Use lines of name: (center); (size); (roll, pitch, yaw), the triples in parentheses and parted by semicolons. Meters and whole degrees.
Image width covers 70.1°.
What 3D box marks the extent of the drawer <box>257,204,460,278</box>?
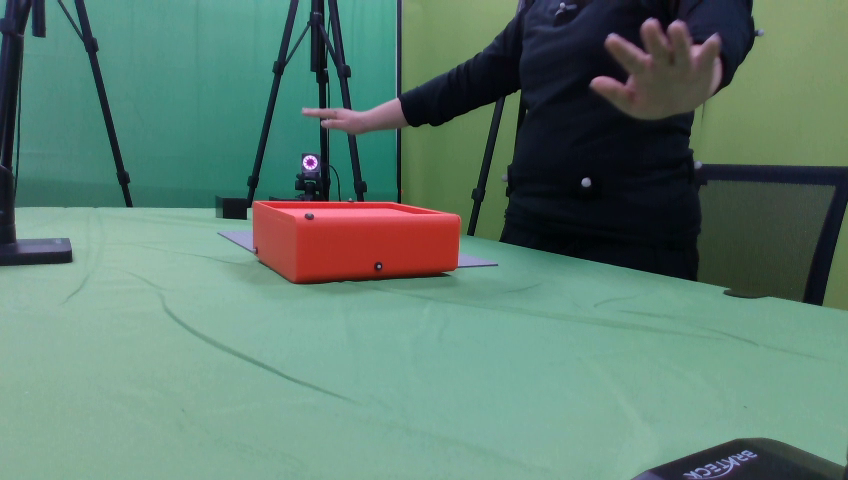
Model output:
drawer: (-0.090, -0.004, 0.793); (0.213, 0.073, 0.193); (-3, 10, -29)

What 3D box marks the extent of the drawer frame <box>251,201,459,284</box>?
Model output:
drawer frame: (-0.095, -0.005, 0.788); (0.215, 0.082, 0.200); (-3, 10, -30)

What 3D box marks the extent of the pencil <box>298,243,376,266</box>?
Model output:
pencil: (-0.107, 0.016, 0.791); (0.012, 0.012, 0.195); (6, 8, 22)
